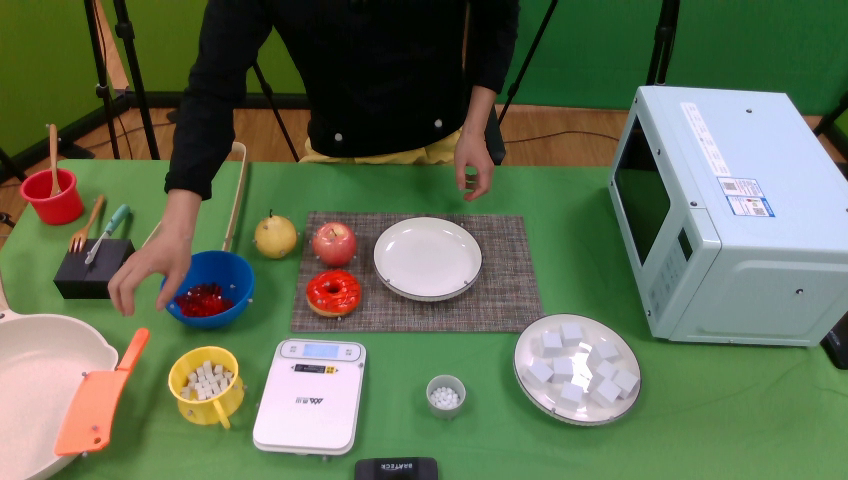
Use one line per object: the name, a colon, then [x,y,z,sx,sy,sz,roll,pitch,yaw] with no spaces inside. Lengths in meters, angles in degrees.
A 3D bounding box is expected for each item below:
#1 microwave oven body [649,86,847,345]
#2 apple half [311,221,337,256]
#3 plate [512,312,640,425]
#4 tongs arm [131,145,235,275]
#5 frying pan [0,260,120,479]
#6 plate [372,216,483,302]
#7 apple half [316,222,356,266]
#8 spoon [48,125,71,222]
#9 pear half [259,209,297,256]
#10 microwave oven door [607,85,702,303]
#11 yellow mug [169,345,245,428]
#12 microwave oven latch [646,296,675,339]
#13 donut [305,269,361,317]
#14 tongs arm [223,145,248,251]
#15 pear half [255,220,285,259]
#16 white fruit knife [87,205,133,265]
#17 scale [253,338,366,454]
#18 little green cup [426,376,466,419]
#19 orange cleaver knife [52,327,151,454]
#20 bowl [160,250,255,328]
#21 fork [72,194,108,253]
microwave oven body: [0.567,-0.053,1.118,0.326,0.261,0.439,2,45,-1]
apple half: [-0.190,-0.001,1.143,0.032,0.081,0.081,28,51,18]
plate: [0.246,0.213,0.999,0.208,0.039,0.206,2,46,-2]
tongs arm: [-0.484,-0.075,1.236,0.028,0.028,0.385,5,44,13]
frying pan: [-0.647,0.164,0.936,0.307,0.103,0.485,-19,58,-22]
plate: [0.006,0.038,1.145,0.209,0.038,0.208,2,46,-2]
apple half: [-0.157,0.015,1.132,0.053,0.075,0.080,28,47,18]
spoon: [-0.718,-0.131,1.188,0.041,0.021,0.193,-3,90,-7]
pear half: [-0.273,-0.025,1.141,0.076,0.110,0.056,28,51,16]
microwave oven door: [0.423,-0.094,1.140,0.039,0.245,0.353,2,46,-1]
yellow mug: [-0.322,0.230,0.922,0.100,0.064,0.130,-24,53,-25]
microwave oven latch: [0.412,0.134,1.061,0.030,0.029,0.078,4,45,1]
donut: [-0.160,0.094,1.075,0.099,0.048,0.098,3,46,-3]
tongs arm: [-0.398,-0.072,1.233,0.051,0.027,0.382,-3,45,0]
pear half: [-0.293,0.003,1.127,0.070,0.088,0.031,25,49,16]
white fruit knife: [-0.584,-0.013,1.129,0.016,0.027,0.206,0,31,-4]
scale: [-0.175,0.236,0.951,0.149,0.032,0.199,4,45,0]
little green cup: [0.033,0.248,0.950,0.061,0.039,0.061,2,46,-2]
orange cleaver knife: [-0.462,0.212,0.879,0.077,0.012,0.210,7,45,-2]
bowl: [-0.362,0.098,1.040,0.151,0.077,0.150,2,45,-2]
fork: [-0.634,-0.035,1.158,0.028,0.019,0.206,-8,32,-8]
